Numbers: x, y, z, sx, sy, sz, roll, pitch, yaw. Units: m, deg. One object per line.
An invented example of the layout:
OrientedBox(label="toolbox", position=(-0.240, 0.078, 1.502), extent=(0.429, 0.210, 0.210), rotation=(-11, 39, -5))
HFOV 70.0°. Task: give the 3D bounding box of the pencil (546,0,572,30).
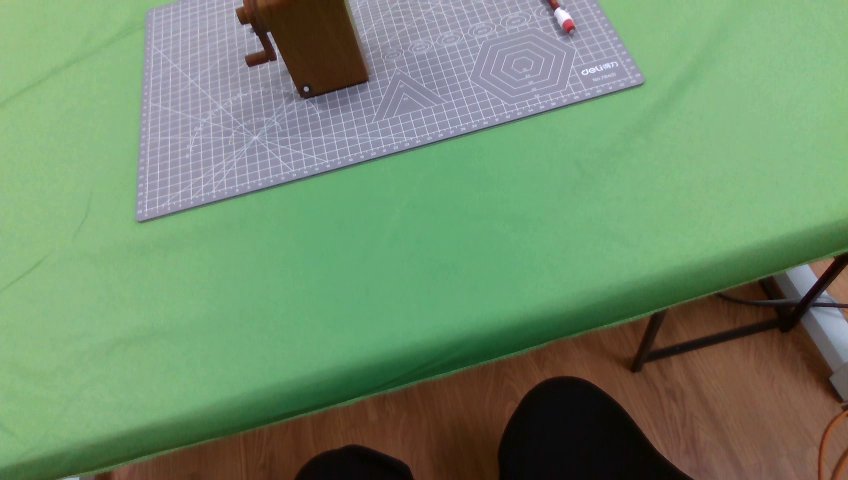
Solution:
OrientedBox(label="pencil", position=(0.104, -0.269, 0.602), extent=(0.012, 0.012, 0.192), rotation=(-19, 57, -2))

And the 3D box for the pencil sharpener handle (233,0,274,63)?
OrientedBox(label="pencil sharpener handle", position=(-0.153, -0.182, 0.522), extent=(0.030, 0.068, 0.035), rotation=(-18, 57, 0))

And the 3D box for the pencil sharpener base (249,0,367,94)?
OrientedBox(label="pencil sharpener base", position=(-0.102, -0.191, 0.533), extent=(0.077, 0.108, 0.060), rotation=(-18, 58, 0))
